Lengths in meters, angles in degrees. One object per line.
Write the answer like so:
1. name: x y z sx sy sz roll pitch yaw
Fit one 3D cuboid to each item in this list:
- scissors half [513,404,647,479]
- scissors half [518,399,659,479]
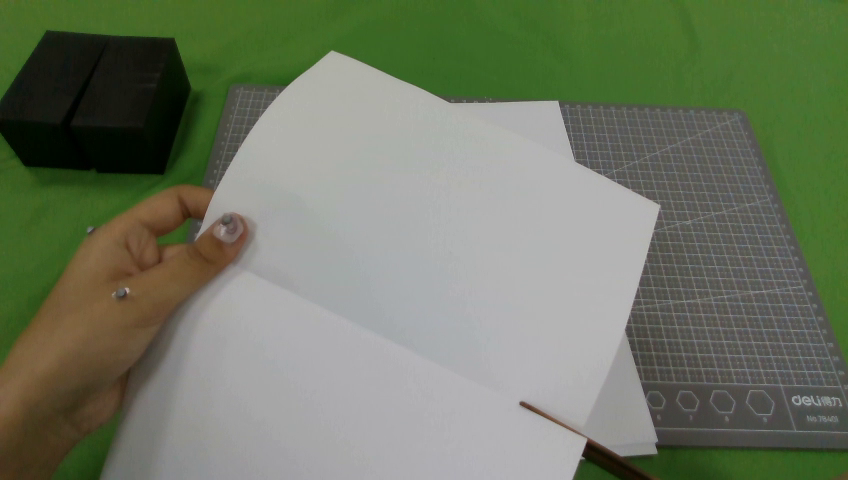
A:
1. scissors half: 0.115 0.109 0.243 0.174 0.040 0.013 25 63 19
2. scissors half: 0.113 0.117 0.263 0.175 0.040 0.012 35 69 -4
